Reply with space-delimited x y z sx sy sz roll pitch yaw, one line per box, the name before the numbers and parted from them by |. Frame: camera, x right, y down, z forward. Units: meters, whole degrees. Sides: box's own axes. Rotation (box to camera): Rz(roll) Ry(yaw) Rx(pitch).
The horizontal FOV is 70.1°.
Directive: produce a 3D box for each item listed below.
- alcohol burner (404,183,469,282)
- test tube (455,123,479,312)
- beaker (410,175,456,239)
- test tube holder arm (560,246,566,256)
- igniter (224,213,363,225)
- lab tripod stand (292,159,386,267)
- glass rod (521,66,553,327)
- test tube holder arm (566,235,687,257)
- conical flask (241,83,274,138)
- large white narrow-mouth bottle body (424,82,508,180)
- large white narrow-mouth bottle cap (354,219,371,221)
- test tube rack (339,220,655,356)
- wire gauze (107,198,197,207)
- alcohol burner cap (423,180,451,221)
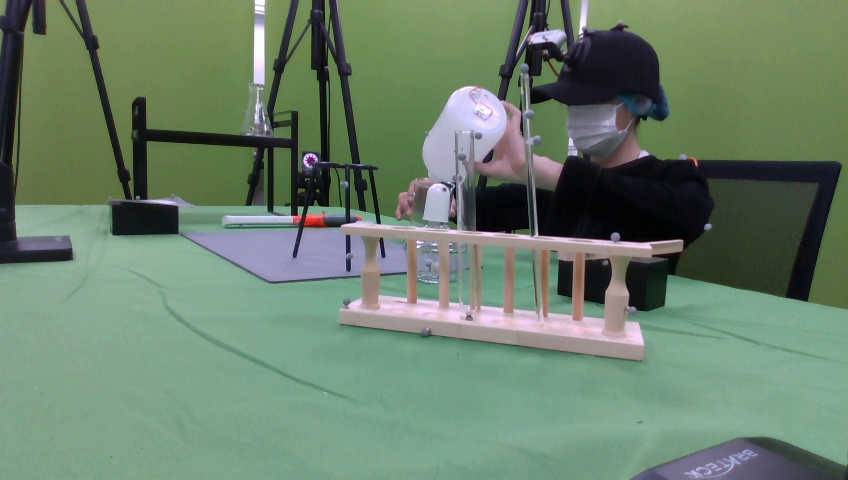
alcohol burner | 0.015 -0.011 0.715 0.078 0.119 0.078 0 7 0
test tube | 0.034 -0.016 0.476 0.017 0.150 0.017 -2 10 1
beaker | 0.016 -0.057 1.061 0.074 0.100 0.083 -8 23 -38
test tube holder arm | 0.173 0.007 0.611 0.088 0.015 0.010 -3 9 -30
igniter | -0.255 -0.041 1.210 0.278 0.025 0.057 -2 -2 -31
lab tripod stand | -0.105 -0.039 0.798 0.148 0.131 0.148 2 5 0
glass rod | 0.085 -0.028 0.454 0.008 0.199 0.008 -7 10 2
test tube holder arm | 0.215 0.006 0.629 0.179 0.015 0.013 -3 9 -30
conical flask | -0.384 -0.297 1.393 0.075 0.122 0.075 2 7 0
large white narrow-mouth bottle body | 0.054 -0.157 0.973 0.102 0.101 0.194 -1 -25 -22
large white narrow-mouth bottle cap | -0.120 -0.029 1.184 0.038 0.024 0.037 2 8 0
test tube rack | 0.056 0.032 0.495 0.242 0.085 0.067 4 7 15
wire gauze | -0.462 -0.064 1.023 0.126 0.011 0.121 -2 7 -32
alcohol burner cap | 0.017 -0.047 0.711 0.034 0.048 0.034 8 5 0
